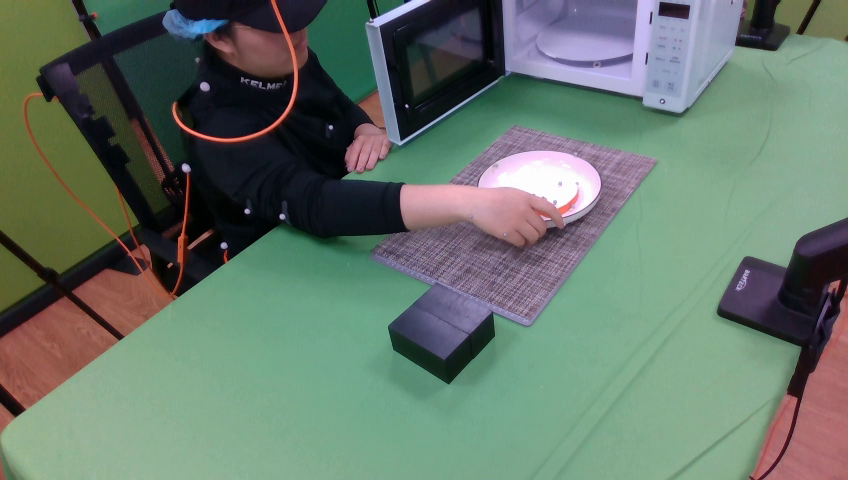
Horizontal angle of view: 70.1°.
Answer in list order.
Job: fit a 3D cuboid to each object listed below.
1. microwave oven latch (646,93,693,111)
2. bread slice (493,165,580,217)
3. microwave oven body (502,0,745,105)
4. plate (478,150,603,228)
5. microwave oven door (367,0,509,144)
[{"bbox_3d":[0.477,-0.273,1.177,0.078,0.029,0.030,22,50,33],"label":"microwave oven latch"},{"bbox_3d":[0.200,-0.085,1.034,0.130,0.019,0.105,24,50,34],"label":"bread slice"},{"bbox_3d":[0.416,-0.486,1.290,0.438,0.261,0.327,21,50,33],"label":"microwave oven body"},{"bbox_3d":[0.198,-0.084,1.030,0.209,0.038,0.208,-5,40,5],"label":"plate"},{"bbox_3d":[0.044,-0.384,1.234,0.039,0.245,0.357,28,53,36],"label":"microwave oven door"}]
